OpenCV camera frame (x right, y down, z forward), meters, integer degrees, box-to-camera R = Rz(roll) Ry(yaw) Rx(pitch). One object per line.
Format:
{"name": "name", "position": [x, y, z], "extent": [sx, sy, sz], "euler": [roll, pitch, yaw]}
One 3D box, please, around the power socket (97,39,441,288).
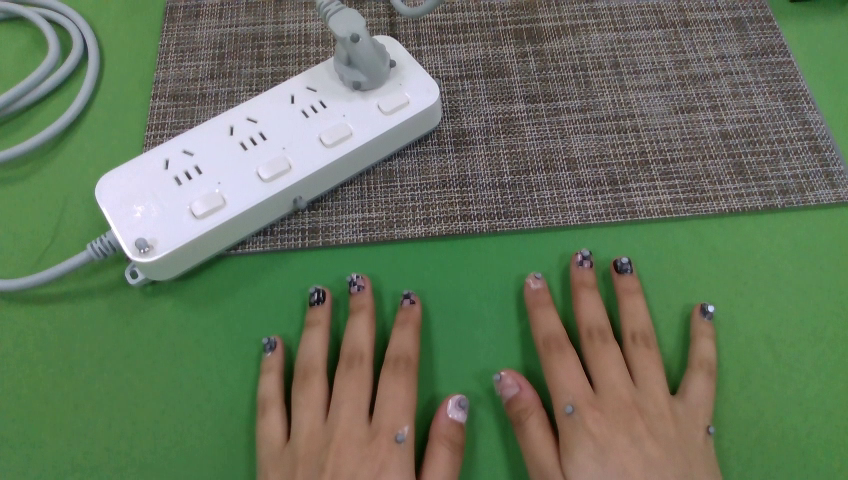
{"name": "power socket", "position": [-0.089, -0.054, 0.376], "extent": [0.227, 0.033, 0.071], "euler": [-32, 67, -15]}

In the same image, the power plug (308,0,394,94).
{"name": "power plug", "position": [-0.046, -0.123, 0.386], "extent": [0.035, 0.053, 0.072], "euler": [-23, 66, -10]}
